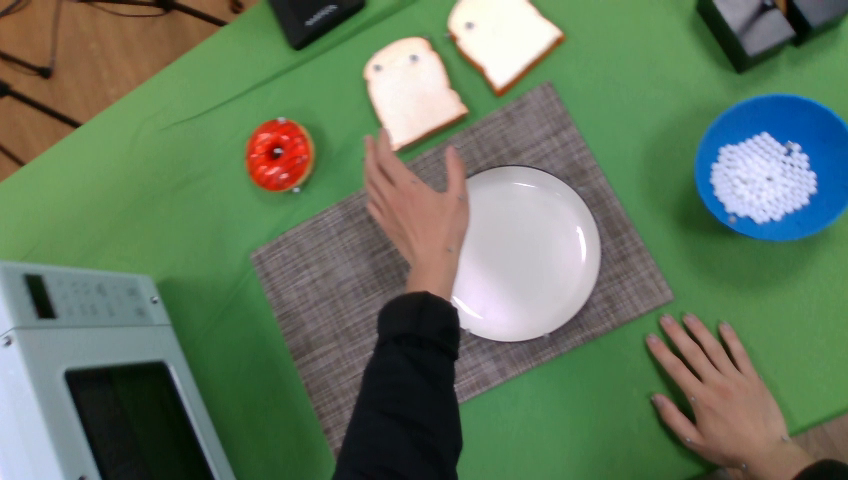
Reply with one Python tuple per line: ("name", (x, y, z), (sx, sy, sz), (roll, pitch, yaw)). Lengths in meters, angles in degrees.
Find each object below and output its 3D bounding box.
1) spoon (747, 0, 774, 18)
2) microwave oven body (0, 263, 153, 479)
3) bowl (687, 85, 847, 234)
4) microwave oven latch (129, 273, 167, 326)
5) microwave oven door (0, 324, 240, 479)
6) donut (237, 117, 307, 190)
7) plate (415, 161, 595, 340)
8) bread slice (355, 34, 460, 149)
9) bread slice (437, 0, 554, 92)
("spoon", (0.331, -0.265, 0.595), (0.021, 0.195, 0.041), (-30, 75, 25))
("microwave oven body", (-0.443, 0.299, 0.707), (0.326, 0.261, 0.439), (-31, 78, 9))
("bowl", (0.349, -0.076, 0.632), (0.151, 0.077, 0.151), (-2, 84, 15))
("microwave oven latch", (-0.376, 0.083, 0.811), (0.030, 0.029, 0.079), (-31, 78, 9))
("microwave oven door", (-0.301, 0.259, 0.668), (0.039, 0.245, 0.354), (-32, 77, 10))
("donut", (-0.201, -0.114, 0.800), (0.099, 0.048, 0.099), (-2, 85, 17))
("plate", (0.093, 0.013, 0.709), (0.207, 0.039, 0.207), (-2, 84, 15))
("bread slice", (-0.030, -0.194, 0.775), (0.107, 0.018, 0.133), (-30, 79, 10))
("bread slice", (0.078, -0.264, 0.754), (0.105, 0.019, 0.131), (-44, 77, 7))
